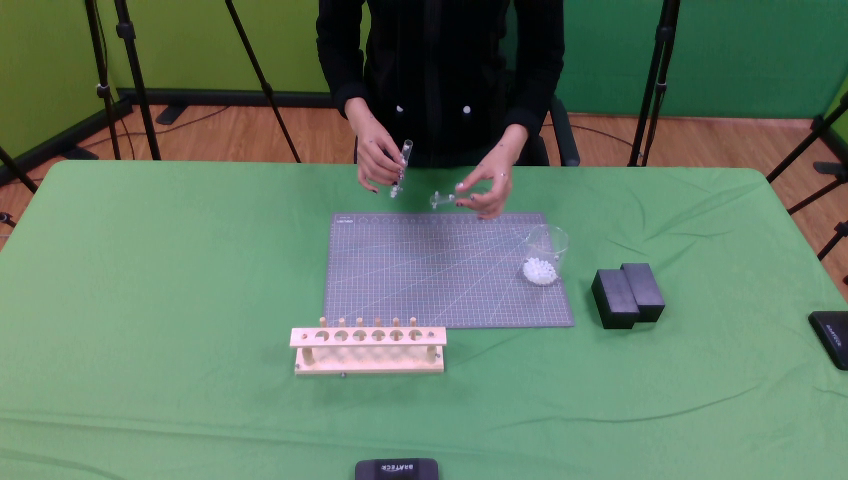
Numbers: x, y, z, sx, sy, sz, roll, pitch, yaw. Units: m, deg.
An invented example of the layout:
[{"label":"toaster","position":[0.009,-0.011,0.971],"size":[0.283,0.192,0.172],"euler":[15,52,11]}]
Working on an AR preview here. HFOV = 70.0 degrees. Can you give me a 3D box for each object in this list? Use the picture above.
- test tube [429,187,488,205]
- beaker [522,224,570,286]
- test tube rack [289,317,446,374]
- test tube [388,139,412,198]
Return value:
[{"label":"test tube","position":[0.063,-0.077,1.046],"size":[0.150,0.017,0.017],"euler":[-14,44,-46]},{"label":"beaker","position":[0.221,0.032,1.129],"size":[0.084,0.101,0.073],"euler":[-6,46,-9]},{"label":"test tube rack","position":[-0.089,0.167,0.988],"size":[0.242,0.085,0.066],"euler":[0,46,-4]},{"label":"test tube","position":[-0.046,-0.128,1.111],"size":[0.017,0.151,0.017],"euler":[9,53,-11]}]
